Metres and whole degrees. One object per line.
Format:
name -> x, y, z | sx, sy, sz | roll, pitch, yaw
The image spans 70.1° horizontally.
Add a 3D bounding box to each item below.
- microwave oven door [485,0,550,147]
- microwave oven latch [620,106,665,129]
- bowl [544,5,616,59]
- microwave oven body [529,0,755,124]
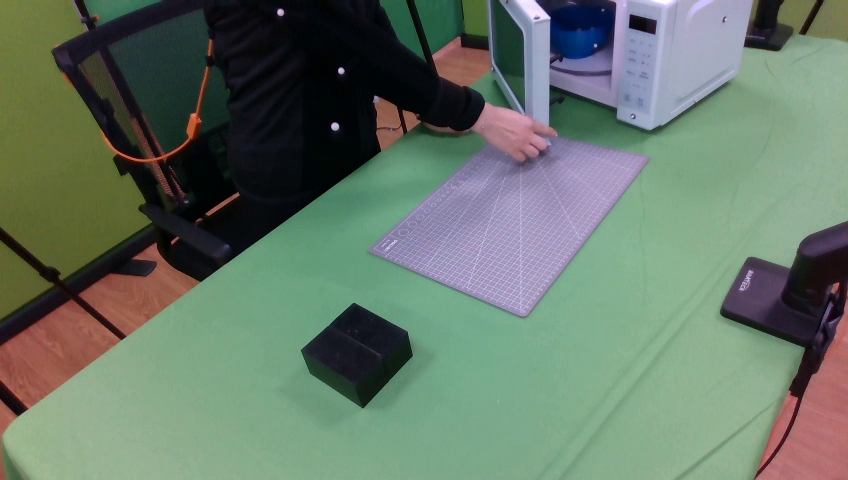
microwave oven door -> 0.180, -0.378, 1.199 | 0.039, 0.245, 0.353 | -11, 40, -2
microwave oven latch -> 0.413, -0.237, 1.146 | 0.030, 0.029, 0.078 | -31, 44, -23
bowl -> 0.332, -0.441, 1.302 | 0.151, 0.077, 0.150 | -3, 39, 3
microwave oven body -> 0.402, -0.458, 1.259 | 0.327, 0.261, 0.437 | -33, 45, -24
